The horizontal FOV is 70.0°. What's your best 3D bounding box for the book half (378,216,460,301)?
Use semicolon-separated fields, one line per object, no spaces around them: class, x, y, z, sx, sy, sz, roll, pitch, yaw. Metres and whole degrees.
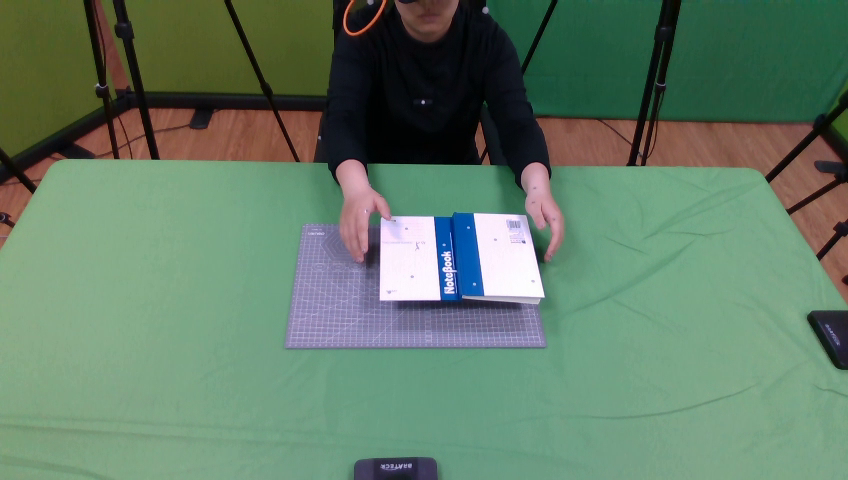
book half;-0.011;0.029;1.110;0.143;0.007;0.208;1;46;-4

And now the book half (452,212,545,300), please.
book half;0.132;0.026;1.116;0.149;0.016;0.209;2;45;-5
